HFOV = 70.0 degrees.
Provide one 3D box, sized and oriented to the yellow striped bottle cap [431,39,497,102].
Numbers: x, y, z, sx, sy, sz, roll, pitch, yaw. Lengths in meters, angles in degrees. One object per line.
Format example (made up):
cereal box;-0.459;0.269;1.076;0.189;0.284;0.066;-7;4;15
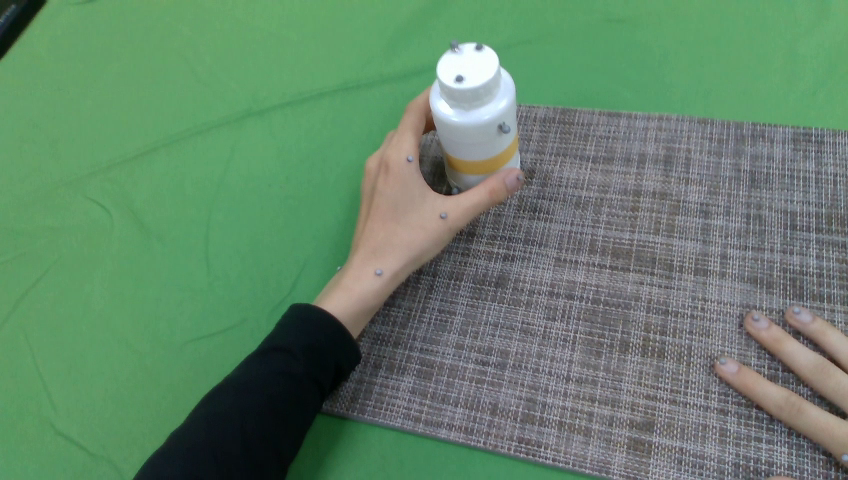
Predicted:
yellow striped bottle cap;0.027;-0.117;0.417;0.044;0.019;0.044;-6;58;10

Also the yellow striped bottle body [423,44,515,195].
yellow striped bottle body;0.036;-0.092;0.462;0.063;0.121;0.062;-5;60;9
